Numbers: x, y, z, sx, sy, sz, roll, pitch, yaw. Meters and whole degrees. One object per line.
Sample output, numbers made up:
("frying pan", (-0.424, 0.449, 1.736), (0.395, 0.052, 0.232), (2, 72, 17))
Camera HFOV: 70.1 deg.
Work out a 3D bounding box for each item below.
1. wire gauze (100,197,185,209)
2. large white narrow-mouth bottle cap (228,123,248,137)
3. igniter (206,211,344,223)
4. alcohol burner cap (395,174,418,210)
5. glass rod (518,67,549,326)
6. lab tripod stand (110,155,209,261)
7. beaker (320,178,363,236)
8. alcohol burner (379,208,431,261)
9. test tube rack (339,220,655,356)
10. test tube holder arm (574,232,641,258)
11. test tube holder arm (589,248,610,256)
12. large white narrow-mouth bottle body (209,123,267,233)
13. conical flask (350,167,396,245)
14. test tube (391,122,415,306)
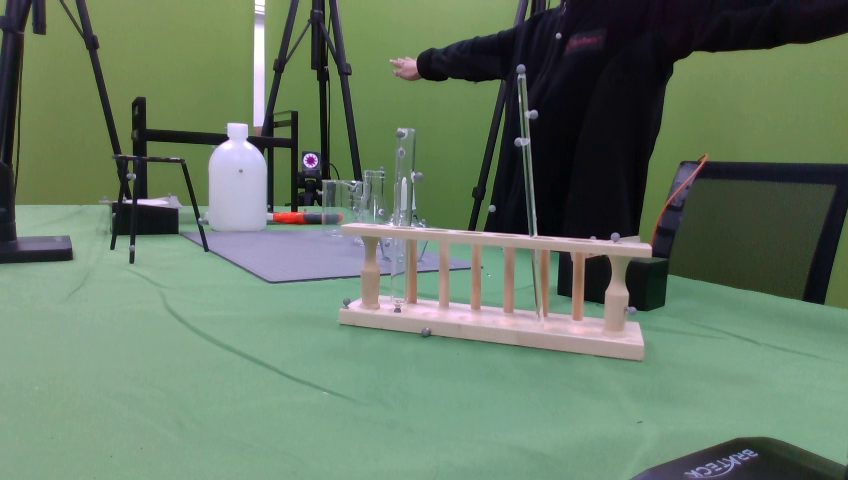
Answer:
("wire gauze", (-0.469, -0.062, 1.008), (0.126, 0.011, 0.121), (-2, 8, -25))
("large white narrow-mouth bottle cap", (-0.338, -0.199, 1.097), (0.038, 0.024, 0.037), (2, 8, 0))
("igniter", (-0.302, -0.048, 1.250), (0.278, 0.025, 0.057), (-2, -2, -26))
("alcohol burner cap", (-0.026, -0.067, 0.833), (0.034, 0.048, 0.034), (-2, 12, 1))
("glass rod", (0.084, -0.029, 0.459), (0.008, 0.199, 0.008), (-7, 11, 2))
("lab tripod stand", (-0.361, -0.046, 0.806), (0.148, 0.131, 0.148), (2, 5, 0))
("beaker", (-0.145, -0.059, 1.079), (0.074, 0.100, 0.083), (-4, 10, -36))
("alcohol burner", (-0.027, -0.031, 0.838), (0.078, 0.119, 0.078), (0, 6, 0))
("test tube rack", (0.056, 0.032, 0.495), (0.242, 0.085, 0.067), (4, 7, 15))
("test tube holder arm", (0.202, 0.003, 0.651), (0.013, 0.015, 0.179), (-3, 2, 36))
("test tube holder arm", (0.180, 0.006, 0.611), (0.010, 0.015, 0.088), (-3, 2, 36))
("large white narrow-mouth bottle body", (-0.340, -0.115, 1.109), (0.102, 0.194, 0.102), (2, 8, 0))
("conical flask", (-0.081, -0.055, 0.975), (0.075, 0.122, 0.075), (2, 8, 0))
("test tube", (-0.017, -0.019, 0.488), (0.017, 0.150, 0.017), (2, 12, 0))
